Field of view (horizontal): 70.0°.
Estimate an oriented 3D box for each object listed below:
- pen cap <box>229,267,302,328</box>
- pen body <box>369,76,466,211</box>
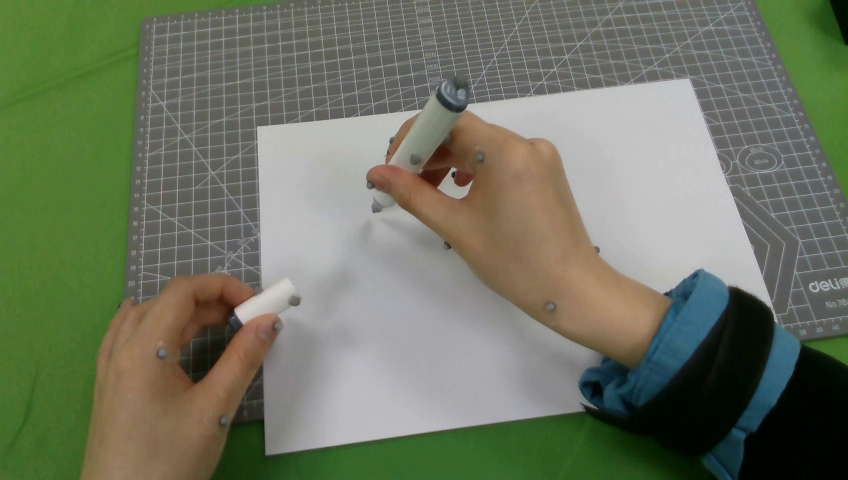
[{"bbox_3d":[-0.084,0.031,0.319,0.038,0.017,0.017,-33,70,2],"label":"pen cap"},{"bbox_3d":[-0.010,-0.039,0.310,0.017,0.144,0.017,6,72,-17],"label":"pen body"}]
